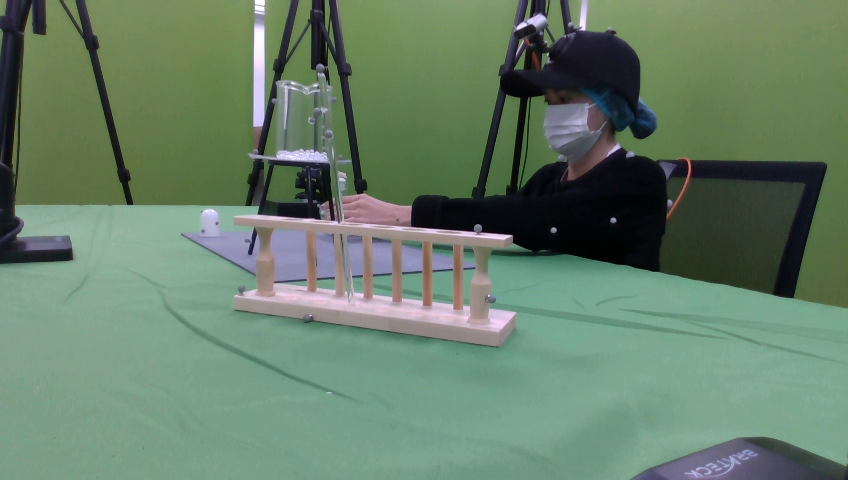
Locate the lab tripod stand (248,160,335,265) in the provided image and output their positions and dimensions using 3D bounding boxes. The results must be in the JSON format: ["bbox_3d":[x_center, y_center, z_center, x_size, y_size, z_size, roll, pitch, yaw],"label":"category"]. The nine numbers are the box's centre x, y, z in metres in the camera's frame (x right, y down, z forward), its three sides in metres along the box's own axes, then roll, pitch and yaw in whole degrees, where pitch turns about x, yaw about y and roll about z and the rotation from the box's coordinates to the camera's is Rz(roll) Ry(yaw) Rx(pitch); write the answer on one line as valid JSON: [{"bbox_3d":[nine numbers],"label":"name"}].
[{"bbox_3d":[-0.165,-0.041,0.817,0.148,0.131,0.148,5,7,0],"label":"lab tripod stand"}]

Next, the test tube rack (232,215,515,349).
[{"bbox_3d":[-0.045,0.028,0.525,0.242,0.085,0.067,5,8,19],"label":"test tube rack"}]

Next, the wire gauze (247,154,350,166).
[{"bbox_3d":[-0.170,-0.105,0.802,0.122,0.011,0.124,-1,11,-20],"label":"wire gauze"}]

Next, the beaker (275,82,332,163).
[{"bbox_3d":[-0.159,-0.152,0.795,0.074,0.100,0.083,1,8,-15],"label":"beaker"}]

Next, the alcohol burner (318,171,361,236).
[{"bbox_3d":[-0.155,-0.066,1.104,0.078,0.119,0.078,1,8,0],"label":"alcohol burner"}]

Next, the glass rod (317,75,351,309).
[{"bbox_3d":[-0.075,-0.036,0.502,0.008,0.199,0.008,-5,8,1],"label":"glass rod"}]

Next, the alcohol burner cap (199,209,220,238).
[{"bbox_3d":[-0.356,-0.027,1.002,0.034,0.048,0.034,2,7,0],"label":"alcohol burner cap"}]
